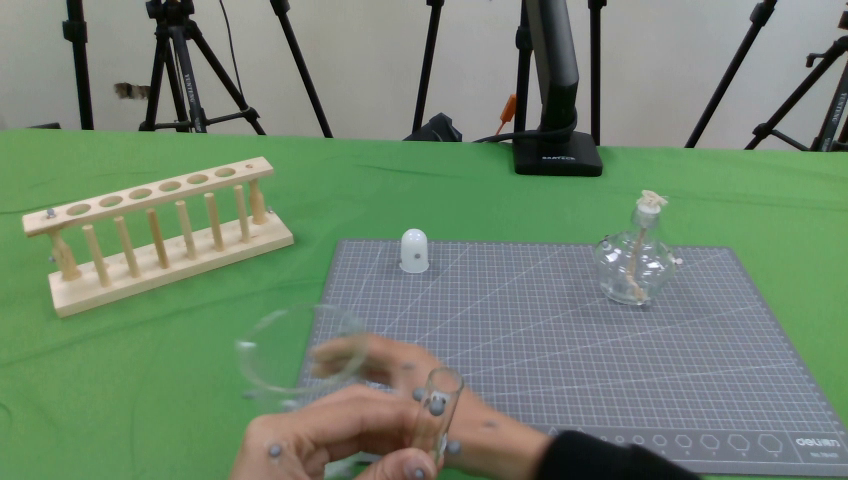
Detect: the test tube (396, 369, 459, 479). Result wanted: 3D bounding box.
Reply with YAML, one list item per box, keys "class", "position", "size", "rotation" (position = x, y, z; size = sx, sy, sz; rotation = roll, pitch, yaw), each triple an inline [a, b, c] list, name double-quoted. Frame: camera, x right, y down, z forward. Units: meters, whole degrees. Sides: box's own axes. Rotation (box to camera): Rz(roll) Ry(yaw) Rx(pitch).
- class: "test tube"
  position: [-0.007, 0.119, 0.285]
  size: [0.017, 0.151, 0.017]
  rotation: [10, 32, -6]

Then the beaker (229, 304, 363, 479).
- class: "beaker"
  position: [-0.080, 0.103, 0.396]
  size: [0.084, 0.101, 0.073]
  rotation: [7, 36, 9]

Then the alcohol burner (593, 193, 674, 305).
- class: "alcohol burner"
  position: [0.209, 0.005, 0.596]
  size: [0.078, 0.120, 0.077]
  rotation: [2, 35, -1]

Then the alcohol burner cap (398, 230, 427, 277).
- class: "alcohol burner cap"
  position: [-0.013, 0.012, 0.649]
  size: [0.034, 0.048, 0.033]
  rotation: [0, 34, 0]

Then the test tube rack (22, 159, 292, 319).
- class: "test tube rack"
  position: [-0.271, -0.008, 0.643]
  size: [0.243, 0.086, 0.066]
  rotation: [-19, 39, -26]
